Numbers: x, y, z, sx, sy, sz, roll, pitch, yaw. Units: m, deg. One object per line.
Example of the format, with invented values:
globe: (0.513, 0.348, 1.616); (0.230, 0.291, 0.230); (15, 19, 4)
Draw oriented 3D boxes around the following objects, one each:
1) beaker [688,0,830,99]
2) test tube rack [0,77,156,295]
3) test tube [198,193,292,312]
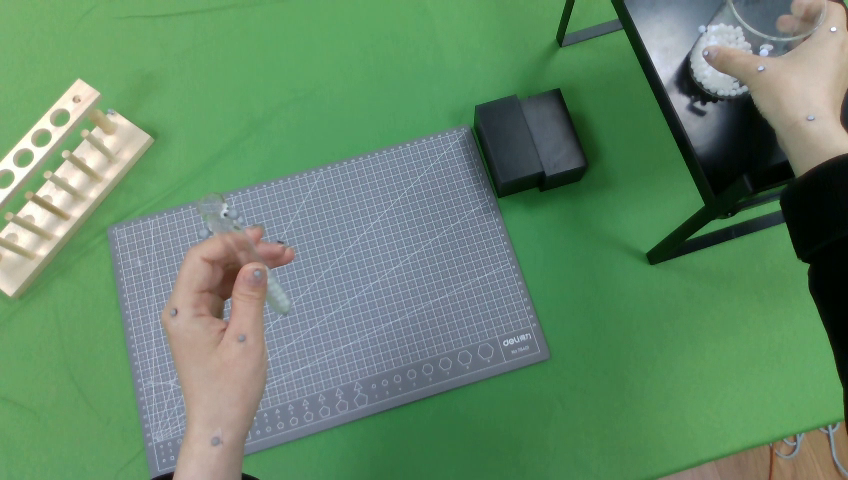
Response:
beaker: (0.272, -0.173, 0.513); (0.084, 0.101, 0.073); (19, 75, 8)
test tube rack: (-0.429, -0.059, 0.691); (0.066, 0.085, 0.242); (34, 78, 10)
test tube: (-0.110, 0.014, 0.390); (0.017, 0.151, 0.017); (-1, 62, 3)
